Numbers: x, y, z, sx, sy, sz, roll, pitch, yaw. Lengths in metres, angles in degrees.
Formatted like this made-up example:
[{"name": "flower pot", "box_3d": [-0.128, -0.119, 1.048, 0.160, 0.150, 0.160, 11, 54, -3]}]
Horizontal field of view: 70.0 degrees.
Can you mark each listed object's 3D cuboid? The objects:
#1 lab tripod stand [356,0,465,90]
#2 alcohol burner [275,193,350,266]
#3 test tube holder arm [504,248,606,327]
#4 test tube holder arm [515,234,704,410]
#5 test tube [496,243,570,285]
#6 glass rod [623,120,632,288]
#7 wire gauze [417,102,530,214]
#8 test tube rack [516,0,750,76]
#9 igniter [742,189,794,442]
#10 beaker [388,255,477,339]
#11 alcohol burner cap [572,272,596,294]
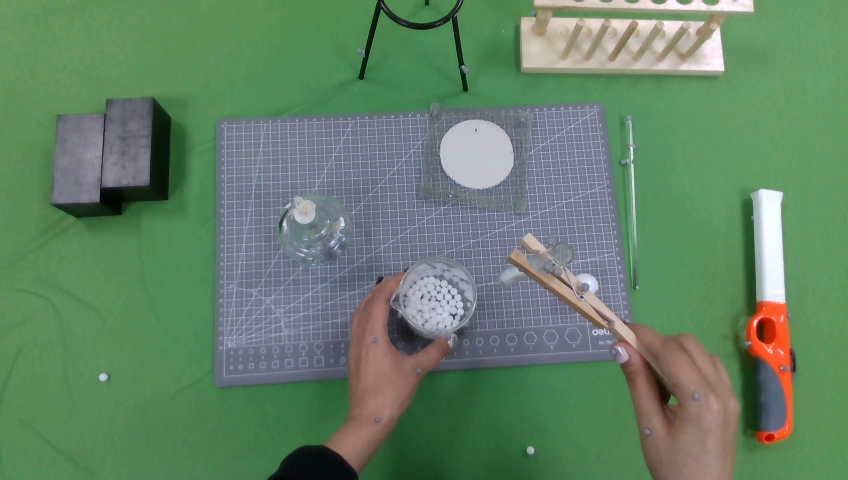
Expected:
[{"name": "lab tripod stand", "box_3d": [-0.010, -0.233, 0.662, 0.148, 0.132, 0.147, 0, 79, -2]}, {"name": "alcohol burner", "box_3d": [-0.117, -0.015, 0.617, 0.078, 0.119, 0.077, 0, 76, 0]}, {"name": "test tube holder arm", "box_3d": [0.097, 0.035, 0.445, 0.088, 0.015, 0.010, 35, 82, 1]}, {"name": "test tube holder arm", "box_3d": [0.136, 0.060, 0.444, 0.178, 0.015, 0.013, 42, 83, 2]}, {"name": "test tube", "box_3d": [0.080, 0.021, 0.467, 0.017, 0.150, 0.017, 1, 80, -7]}, {"name": "glass rod", "box_3d": [0.233, -0.043, 0.693, 0.008, 0.008, 0.199, 3, 80, -2]}, {"name": "wire gauze", "box_3d": [0.059, -0.097, 0.697, 0.125, 0.011, 0.121, 8, 78, -1]}, {"name": "test tube rack", "box_3d": [0.235, -0.242, 0.698, 0.242, 0.085, 0.066, 0, 77, -2]}, {"name": "igniter", "box_3d": [0.375, 0.078, 0.663, 0.057, 0.025, 0.275, 7, 77, -11]}, {"name": "beaker", "box_3d": [0.007, 0.062, 0.612, 0.084, 0.100, 0.073, -9, 77, -3]}, {"name": "alcohol burner cap", "box_3d": [0.168, 0.050, 0.651, 0.034, 0.048, 0.033, 1, 77, -2]}]
